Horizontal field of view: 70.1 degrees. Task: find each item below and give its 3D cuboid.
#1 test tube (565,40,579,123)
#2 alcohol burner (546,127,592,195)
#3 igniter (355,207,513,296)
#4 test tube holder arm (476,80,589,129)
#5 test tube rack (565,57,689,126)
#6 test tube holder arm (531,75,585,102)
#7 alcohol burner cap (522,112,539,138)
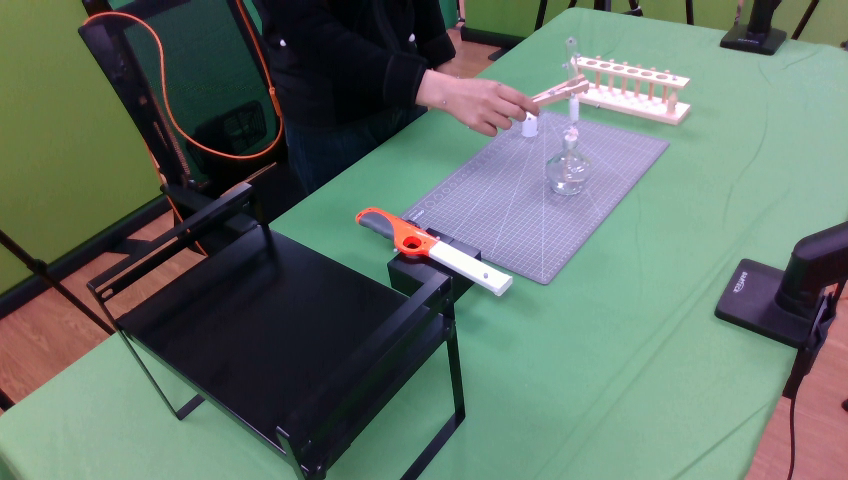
[{"bbox_3d":[0.225,-0.236,0.918,0.017,0.151,0.017,-8,51,11],"label":"test tube"},{"bbox_3d":[0.246,-0.137,1.024,0.078,0.119,0.077,-4,38,4],"label":"alcohol burner"},{"bbox_3d":[0.006,0.010,0.885,0.274,0.025,0.057,27,53,30],"label":"igniter"},{"bbox_3d":[0.165,-0.206,0.923,0.178,0.015,0.013,-20,47,4],"label":"test tube holder arm"},{"bbox_3d":[0.411,-0.311,1.231,0.240,0.085,0.067,24,49,32],"label":"test tube rack"},{"bbox_3d":[0.205,-0.227,0.926,0.088,0.015,0.010,-25,47,-1],"label":"test tube holder arm"},{"bbox_3d":[0.210,-0.230,1.195,0.034,0.048,0.033,-6,41,6],"label":"alcohol burner cap"}]
